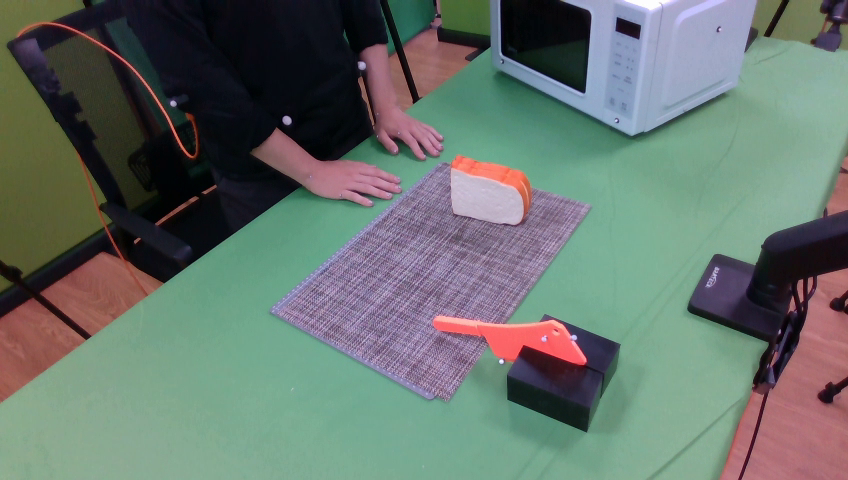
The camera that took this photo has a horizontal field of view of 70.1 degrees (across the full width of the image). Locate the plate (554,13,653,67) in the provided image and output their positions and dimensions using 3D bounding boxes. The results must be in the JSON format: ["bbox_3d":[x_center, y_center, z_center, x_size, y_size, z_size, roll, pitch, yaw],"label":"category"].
[{"bbox_3d":[0.386,-0.428,1.310,0.207,0.039,0.206,-4,45,4],"label":"plate"}]

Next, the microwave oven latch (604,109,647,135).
[{"bbox_3d":[0.378,-0.225,1.139,0.030,0.029,0.078,-26,43,-20],"label":"microwave oven latch"}]

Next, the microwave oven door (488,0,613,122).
[{"bbox_3d":[0.250,-0.412,1.219,0.039,0.245,0.352,-27,44,-21],"label":"microwave oven door"}]

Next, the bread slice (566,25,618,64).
[{"bbox_3d":[0.362,-0.428,1.323,0.107,0.018,0.134,0,51,8],"label":"bread slice"}]

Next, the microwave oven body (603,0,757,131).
[{"bbox_3d":[0.396,-0.448,1.248,0.327,0.261,0.437,-27,44,-21],"label":"microwave oven body"}]

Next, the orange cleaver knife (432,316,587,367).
[{"bbox_3d":[0.101,0.127,0.761,0.210,0.077,0.012,-1,34,40],"label":"orange cleaver knife"}]
